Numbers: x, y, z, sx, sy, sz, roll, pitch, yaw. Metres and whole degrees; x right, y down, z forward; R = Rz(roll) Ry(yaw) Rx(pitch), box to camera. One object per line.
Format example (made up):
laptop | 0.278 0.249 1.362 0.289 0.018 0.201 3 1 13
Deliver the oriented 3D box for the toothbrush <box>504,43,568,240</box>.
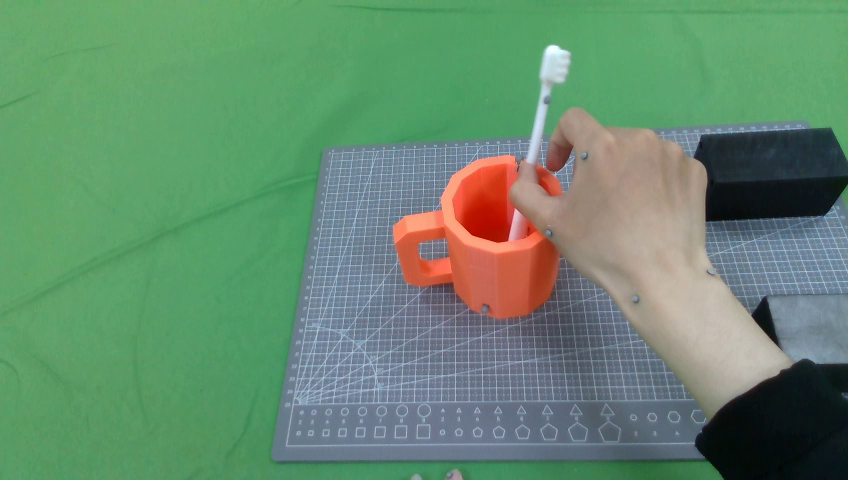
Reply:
toothbrush | 0.072 -0.042 0.423 0.016 0.182 0.014 25 25 35

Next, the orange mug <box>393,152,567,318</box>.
orange mug | 0.042 0.000 0.454 0.126 0.102 0.082 -6 56 -2
